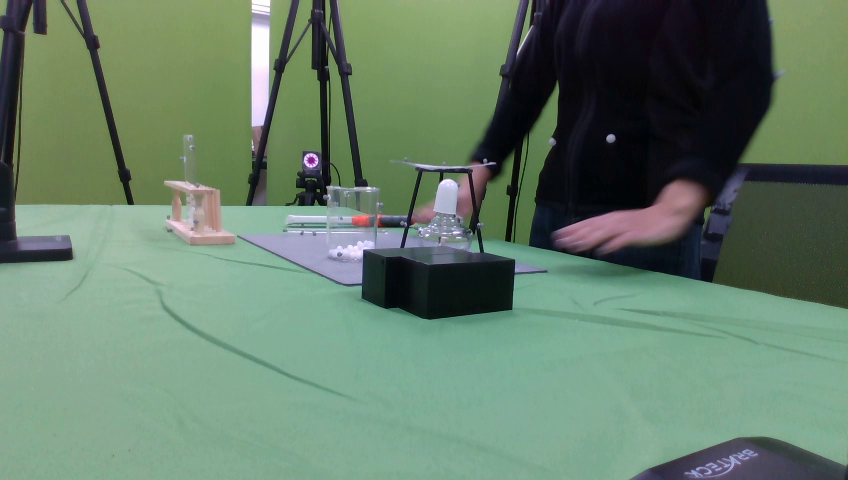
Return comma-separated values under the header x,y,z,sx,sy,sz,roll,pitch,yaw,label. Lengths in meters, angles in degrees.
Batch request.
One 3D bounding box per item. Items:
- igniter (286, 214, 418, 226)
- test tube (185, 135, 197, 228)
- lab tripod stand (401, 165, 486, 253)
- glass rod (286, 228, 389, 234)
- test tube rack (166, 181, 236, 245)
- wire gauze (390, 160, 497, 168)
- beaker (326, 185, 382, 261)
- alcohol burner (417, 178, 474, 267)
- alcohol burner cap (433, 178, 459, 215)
x,y,z,sx,sy,sz,roll,pitch,yaw,label
-0.146,-0.043,1.263,0.278,0.025,0.057,-1,-2,-24,igniter
-0.376,-0.094,0.977,0.017,0.150,0.017,-1,3,0,test tube
0.028,-0.049,0.930,0.148,0.131,0.148,2,9,0,lab tripod stand
-0.154,-0.016,1.101,0.201,0.008,0.008,1,6,-31,glass rod
-0.383,-0.051,1.024,0.067,0.085,0.241,-2,9,-31,test tube rack
0.028,-0.115,0.919,0.122,0.011,0.124,-4,10,-34,wire gauze
-0.100,-0.025,0.835,0.074,0.100,0.083,0,7,-23,beaker
0.029,-0.024,0.810,0.078,0.119,0.078,1,9,0,alcohol burner
0.031,-0.060,0.806,0.034,0.048,0.034,9,10,-1,alcohol burner cap
